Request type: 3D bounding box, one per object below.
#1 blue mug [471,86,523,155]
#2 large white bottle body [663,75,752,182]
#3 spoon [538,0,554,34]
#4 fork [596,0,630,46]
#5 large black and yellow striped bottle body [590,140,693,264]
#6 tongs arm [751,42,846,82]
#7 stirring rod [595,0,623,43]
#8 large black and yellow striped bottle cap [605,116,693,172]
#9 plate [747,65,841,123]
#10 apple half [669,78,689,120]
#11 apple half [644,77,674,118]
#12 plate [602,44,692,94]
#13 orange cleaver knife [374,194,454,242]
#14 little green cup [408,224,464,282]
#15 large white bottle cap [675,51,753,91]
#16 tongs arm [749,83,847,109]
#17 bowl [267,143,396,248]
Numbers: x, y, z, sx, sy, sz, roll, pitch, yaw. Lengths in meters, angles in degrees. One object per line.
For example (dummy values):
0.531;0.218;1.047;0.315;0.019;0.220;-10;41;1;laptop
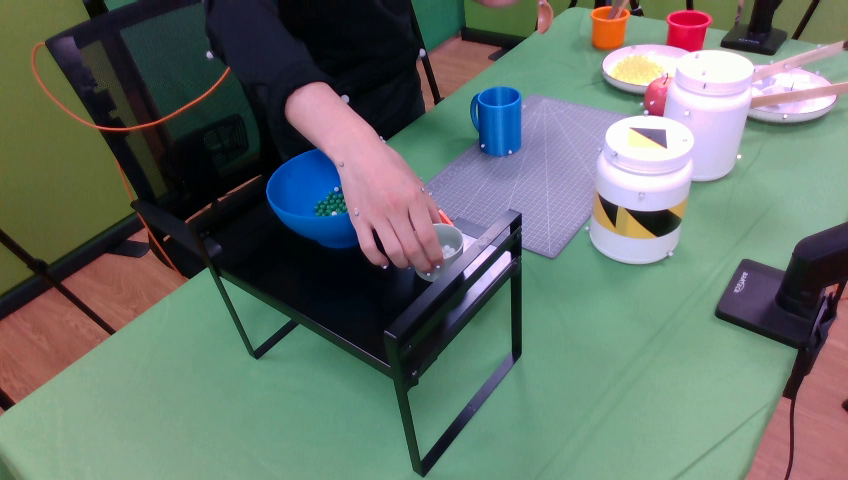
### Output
0.135;-0.235;1.163;0.082;0.106;0.115;-36;48;-28;blue mug
0.472;-0.207;1.022;0.130;0.185;0.130;-4;41;4;large white bottle body
0.207;-0.458;1.088;0.022;0.041;0.193;-3;76;-26;spoon
0.481;-0.556;1.452;0.028;0.019;0.207;40;103;40;fork
0.317;-0.071;0.889;0.131;0.185;0.130;-4;41;4;large black and yellow striped bottle body
0.708;-0.331;1.194;0.386;0.026;0.050;-18;45;-16;tongs arm
0.460;-0.556;1.460;0.014;0.006;0.176;30;93;23;stirring rod
0.309;-0.134;0.833;0.115;0.019;0.114;-5;40;5;large black and yellow striped bottle cap
0.694;-0.283;1.189;0.207;0.039;0.206;-4;40;4;plate
0.498;-0.273;1.180;0.032;0.082;0.081;7;42;25;apple half
0.463;-0.279;1.194;0.053;0.075;0.081;8;46;24;apple half
0.495;-0.367;1.317;0.209;0.038;0.208;-4;40;4;plate
-0.032;-0.027;0.964;0.210;0.077;0.012;-9;29;51;orange cleaver knife
0.014;0.016;0.667;0.061;0.039;0.061;-3;40;3;little green cup
0.463;-0.271;0.967;0.115;0.018;0.114;-4;40;3;large white bottle cap
0.734;-0.280;1.133;0.388;0.028;0.028;-9;47;-5;tongs arm
-0.104;-0.043;0.726;0.151;0.077;0.150;-4;41;4;bowl
